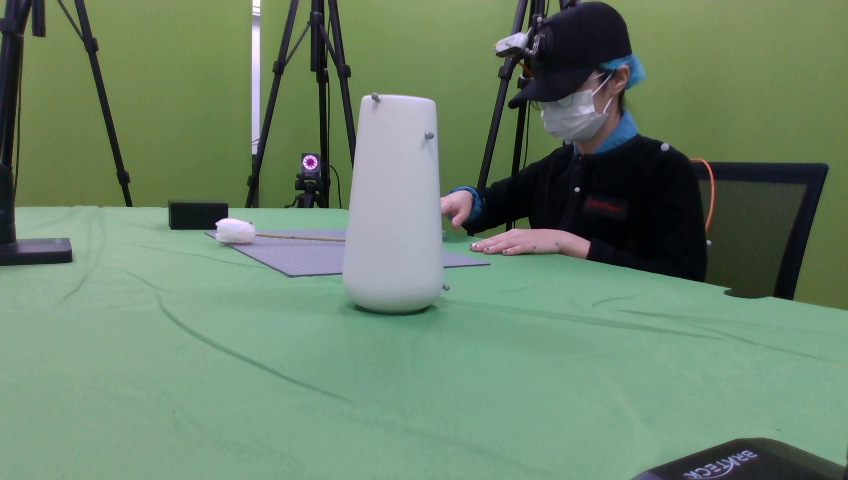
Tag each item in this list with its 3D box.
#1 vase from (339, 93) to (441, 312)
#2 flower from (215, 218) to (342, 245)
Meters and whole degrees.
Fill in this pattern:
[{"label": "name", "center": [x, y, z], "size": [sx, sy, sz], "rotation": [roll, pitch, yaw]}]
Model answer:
[{"label": "vase", "center": [-0.032, -0.035, 0.577], "size": [0.098, 0.200, 0.098], "rotation": [0, 7, 0]}, {"label": "flower", "center": [-0.152, -0.001, 0.993], "size": [0.363, 0.038, 0.044], "rotation": [5, -31, -17]}]
